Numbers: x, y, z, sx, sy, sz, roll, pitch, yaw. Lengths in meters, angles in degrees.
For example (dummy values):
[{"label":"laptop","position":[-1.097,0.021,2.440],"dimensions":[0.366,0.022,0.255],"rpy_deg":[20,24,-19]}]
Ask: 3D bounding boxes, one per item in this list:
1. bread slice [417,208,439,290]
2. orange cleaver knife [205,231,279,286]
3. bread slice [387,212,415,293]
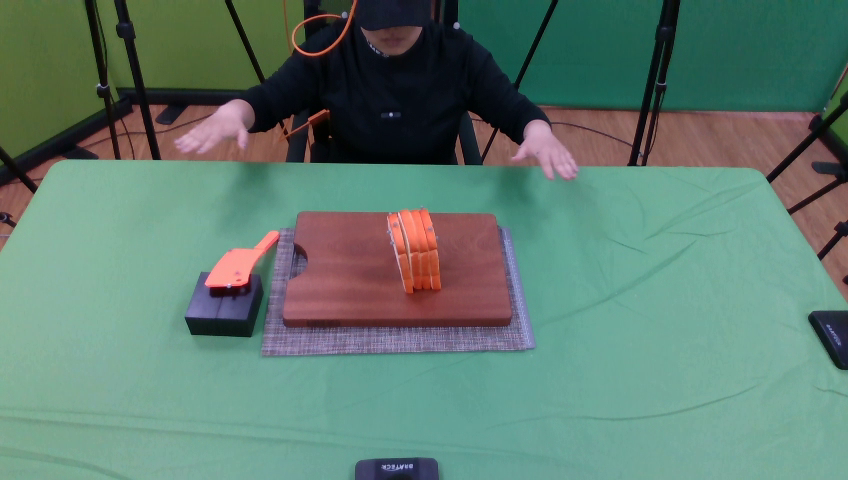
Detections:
[{"label":"bread slice","position":[0.007,0.012,1.073],"dimensions":[0.018,0.135,0.106],"rpy_deg":[-11,51,-7]},{"label":"orange cleaver knife","position":[-0.328,0.031,1.109],"dimensions":[0.077,0.012,0.210],"rpy_deg":[5,27,7]},{"label":"bread slice","position":[-0.043,0.016,1.067],"dimensions":[0.019,0.132,0.104],"rpy_deg":[-15,46,-4]}]
